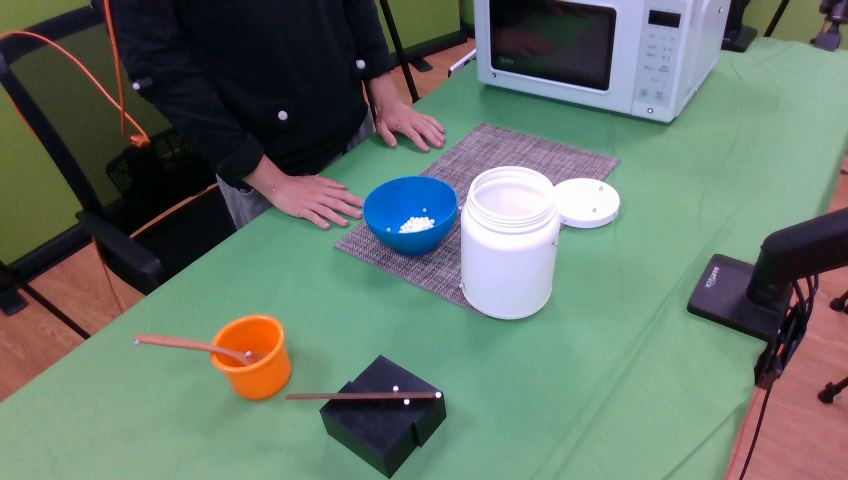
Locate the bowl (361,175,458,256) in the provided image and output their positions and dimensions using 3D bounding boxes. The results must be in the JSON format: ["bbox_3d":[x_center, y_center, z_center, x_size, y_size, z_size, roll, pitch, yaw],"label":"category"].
[{"bbox_3d":[-0.018,-0.029,0.955,0.151,0.077,0.150,-4,40,4],"label":"bowl"}]

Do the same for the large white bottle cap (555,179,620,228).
[{"bbox_3d":[0.265,-0.062,1.001,0.115,0.018,0.114,-3,41,4],"label":"large white bottle cap"}]

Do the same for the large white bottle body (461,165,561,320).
[{"bbox_3d":[0.115,0.004,0.816,0.130,0.185,0.130,-2,43,2],"label":"large white bottle body"}]

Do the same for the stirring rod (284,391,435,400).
[{"bbox_3d":[-0.075,0.180,0.698,0.176,0.006,0.014,-2,6,6],"label":"stirring rod"}]

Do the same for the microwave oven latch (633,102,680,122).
[{"bbox_3d":[0.444,-0.249,1.157,0.078,0.029,0.030,21,49,30],"label":"microwave oven latch"}]

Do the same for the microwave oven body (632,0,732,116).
[{"bbox_3d":[0.377,-0.462,1.267,0.438,0.261,0.327,21,48,30],"label":"microwave oven body"}]

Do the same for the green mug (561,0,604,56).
[{"bbox_3d":[0.335,-0.450,1.293,0.092,0.105,0.125,8,48,23],"label":"green mug"}]

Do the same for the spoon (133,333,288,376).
[{"bbox_3d":[-0.257,0.137,0.747,0.021,0.195,0.041,-47,40,22],"label":"spoon"}]

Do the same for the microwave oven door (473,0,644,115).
[{"bbox_3d":[0.257,-0.396,1.199,0.353,0.245,0.039,21,48,29],"label":"microwave oven door"}]
